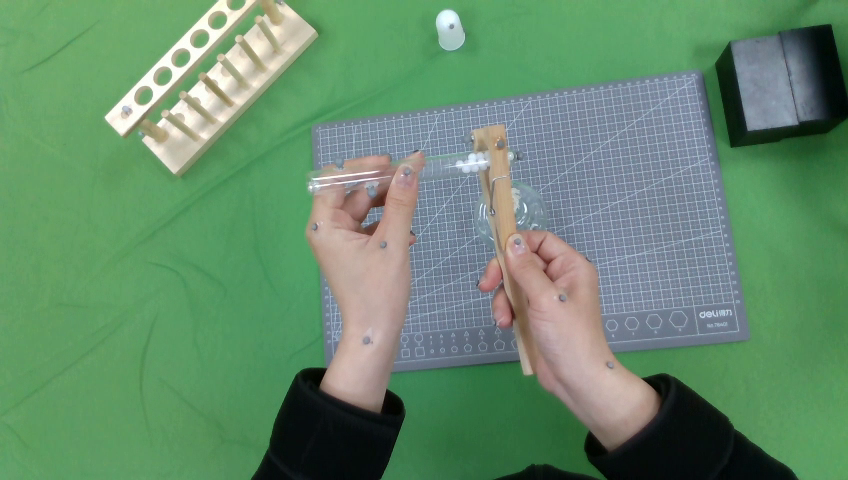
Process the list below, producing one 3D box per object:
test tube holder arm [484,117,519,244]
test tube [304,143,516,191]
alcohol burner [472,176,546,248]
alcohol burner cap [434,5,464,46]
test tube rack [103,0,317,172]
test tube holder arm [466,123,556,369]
[{"bbox_3d":[0.055,-0.041,0.421,0.015,0.010,0.088,-14,102,-35],"label":"test tube holder arm"},{"bbox_3d":[-0.005,-0.050,0.402,0.151,0.017,0.017,-10,77,-22],"label":"test tube"},{"bbox_3d":[0.086,-0.033,0.619,0.078,0.120,0.077,-2,78,9],"label":"alcohol burner"},{"bbox_3d":[0.028,-0.251,0.700,0.034,0.048,0.033,-2,75,10],"label":"alcohol burner cap"},{"bbox_3d":[-0.243,-0.198,0.707,0.066,0.085,0.242,44,88,12],"label":"test tube rack"},{"bbox_3d":[0.061,0.003,0.427,0.015,0.013,0.178,-14,87,-34],"label":"test tube holder arm"}]
